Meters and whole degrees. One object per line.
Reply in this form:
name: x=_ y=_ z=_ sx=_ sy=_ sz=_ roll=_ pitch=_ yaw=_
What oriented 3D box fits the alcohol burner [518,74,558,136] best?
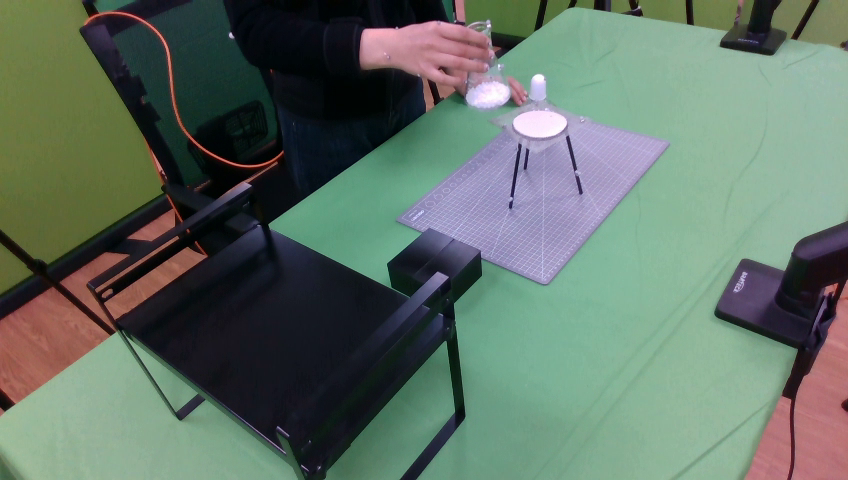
alcohol burner: x=0.221 y=-0.265 z=1.179 sx=0.078 sy=0.119 sz=0.077 roll=-6 pitch=39 yaw=5

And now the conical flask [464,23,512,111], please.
conical flask: x=0.090 y=-0.264 z=0.917 sx=0.075 sy=0.122 sz=0.075 roll=-9 pitch=44 yaw=9

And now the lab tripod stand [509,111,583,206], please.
lab tripod stand: x=0.197 y=-0.139 z=1.020 sx=0.148 sy=0.132 sz=0.147 roll=-3 pitch=39 yaw=3

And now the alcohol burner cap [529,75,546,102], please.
alcohol burner cap: x=0.218 y=-0.292 z=1.156 sx=0.034 sy=0.048 sz=0.033 roll=-3 pitch=46 yaw=4

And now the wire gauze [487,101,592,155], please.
wire gauze: x=0.185 y=-0.188 z=0.974 sx=0.122 sy=0.011 sz=0.124 roll=-27 pitch=45 yaw=-23
